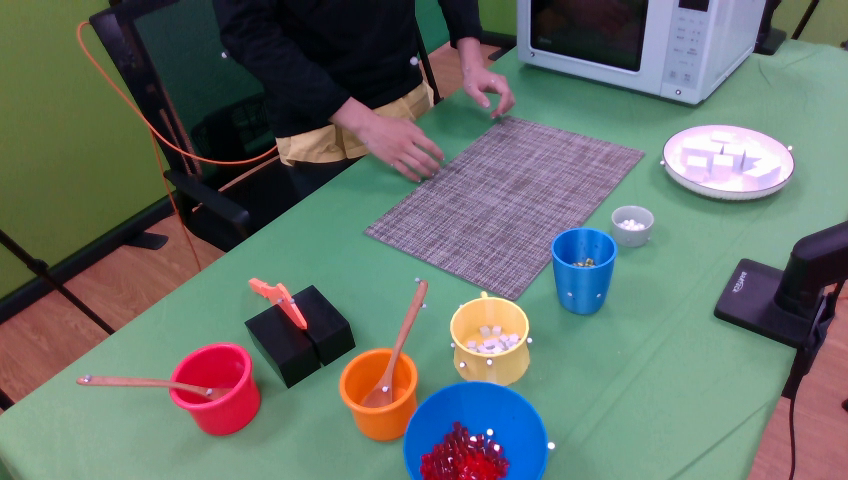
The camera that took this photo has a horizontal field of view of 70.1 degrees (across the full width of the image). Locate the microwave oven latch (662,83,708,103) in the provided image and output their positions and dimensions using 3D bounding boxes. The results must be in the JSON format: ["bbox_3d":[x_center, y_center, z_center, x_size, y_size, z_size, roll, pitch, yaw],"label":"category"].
[{"bbox_3d":[0.517,-0.296,1.204,0.078,0.029,0.030,27,52,35],"label":"microwave oven latch"}]

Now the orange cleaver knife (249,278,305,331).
[{"bbox_3d":[-0.210,0.088,0.856,0.012,0.077,0.210,-28,15,-25],"label":"orange cleaver knife"}]

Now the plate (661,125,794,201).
[{"bbox_3d":[0.513,-0.128,1.035,0.207,0.039,0.206,-4,40,4],"label":"plate"}]

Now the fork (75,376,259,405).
[{"bbox_3d":[-0.296,0.176,0.716,0.209,0.018,0.028,19,27,-36],"label":"fork"}]

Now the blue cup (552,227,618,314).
[{"bbox_3d":[0.217,0.047,0.825,0.092,0.100,0.092,-6,40,5],"label":"blue cup"}]

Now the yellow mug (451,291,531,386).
[{"bbox_3d":[0.085,0.120,0.786,0.100,0.064,0.130,-6,39,1],"label":"yellow mug"}]

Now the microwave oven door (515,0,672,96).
[{"bbox_3d":[0.343,-0.454,1.259,0.353,0.245,0.039,26,51,33],"label":"microwave oven door"}]

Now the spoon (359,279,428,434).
[{"bbox_3d":[-0.032,0.138,0.719,0.041,0.193,0.022,22,4,29],"label":"spoon"}]

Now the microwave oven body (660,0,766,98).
[{"bbox_3d":[0.472,-0.513,1.317,0.438,0.261,0.327,26,51,34],"label":"microwave oven body"}]

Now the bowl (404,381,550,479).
[{"bbox_3d":[0.058,0.235,0.645,0.151,0.077,0.150,-4,39,4],"label":"bowl"}]

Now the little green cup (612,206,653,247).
[{"bbox_3d":[0.321,-0.019,0.936,0.061,0.039,0.061,-4,41,4],"label":"little green cup"}]
